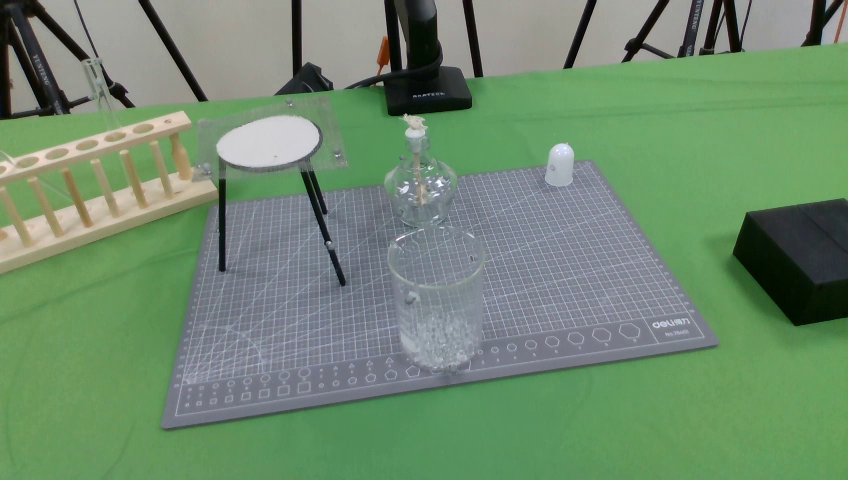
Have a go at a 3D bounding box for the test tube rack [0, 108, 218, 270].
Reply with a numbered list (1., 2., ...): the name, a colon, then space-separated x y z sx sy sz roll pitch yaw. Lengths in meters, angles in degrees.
1. test tube rack: -0.358 -0.058 0.646 0.243 0.086 0.066 -23 44 -23

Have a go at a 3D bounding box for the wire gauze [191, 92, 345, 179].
1. wire gauze: -0.138 -0.092 0.525 0.125 0.011 0.120 -11 40 -9

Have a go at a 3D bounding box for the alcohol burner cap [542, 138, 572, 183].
1. alcohol burner cap: 0.152 -0.092 0.686 0.034 0.048 0.033 -2 40 2

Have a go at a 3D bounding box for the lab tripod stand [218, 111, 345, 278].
1. lab tripod stand: -0.135 -0.040 0.569 0.148 0.133 0.147 -2 42 2

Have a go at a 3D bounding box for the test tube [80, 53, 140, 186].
1. test tube: -0.332 -0.123 0.645 0.017 0.151 0.017 -1 37 1

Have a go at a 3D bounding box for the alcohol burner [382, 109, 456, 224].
1. alcohol burner: -0.007 -0.078 0.621 0.078 0.120 0.077 -3 38 3

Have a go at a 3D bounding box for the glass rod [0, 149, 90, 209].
1. glass rod: -0.417 -0.085 0.595 0.008 0.202 0.008 -17 52 23

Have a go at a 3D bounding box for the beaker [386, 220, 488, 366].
1. beaker: 0.009 0.044 0.485 0.083 0.101 0.074 24 47 30
